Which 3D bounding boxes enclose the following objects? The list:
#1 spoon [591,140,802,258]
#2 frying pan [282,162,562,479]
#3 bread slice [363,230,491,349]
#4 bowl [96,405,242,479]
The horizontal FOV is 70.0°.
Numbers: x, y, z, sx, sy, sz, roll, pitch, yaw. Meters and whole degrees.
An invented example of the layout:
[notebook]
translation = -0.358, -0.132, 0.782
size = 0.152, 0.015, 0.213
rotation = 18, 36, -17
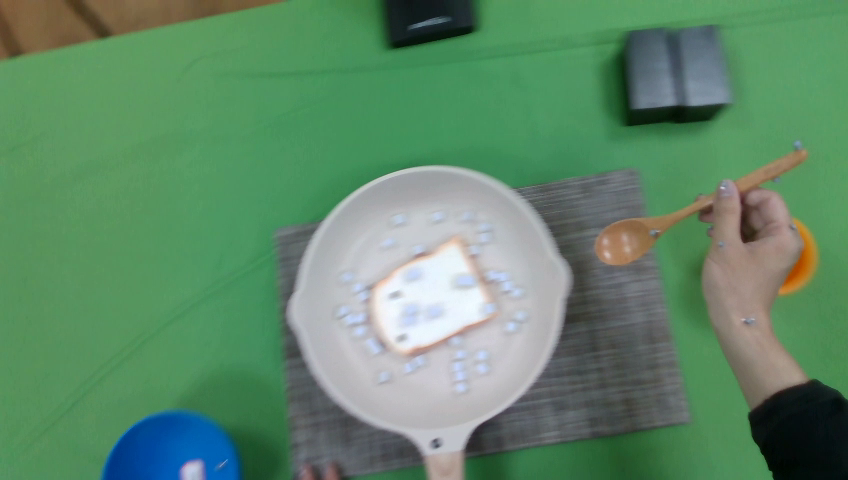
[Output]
[spoon]
translation = 0.237, -0.035, 0.543
size = 0.193, 0.022, 0.041
rotation = -31, 79, 37
[frying pan]
translation = 0.009, 0.156, 0.652
size = 0.307, 0.103, 0.484
rotation = -7, 70, 4
[bread slice]
translation = -0.002, 0.067, 0.711
size = 0.134, 0.018, 0.106
rotation = -30, 79, -4
[bowl]
translation = -0.266, 0.257, 0.671
size = 0.151, 0.077, 0.150
rotation = -1, 79, 4
